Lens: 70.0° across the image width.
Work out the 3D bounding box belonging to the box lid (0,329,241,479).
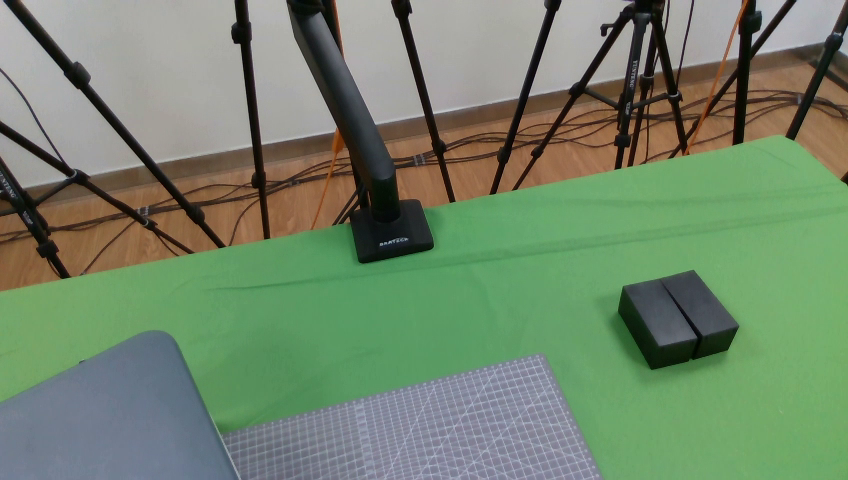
[{"bbox_3d":[-0.355,0.239,0.513,0.372,0.015,0.260,-27,49,-20],"label":"box lid"}]

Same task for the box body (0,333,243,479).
[{"bbox_3d":[-0.351,0.292,0.566,0.364,0.162,0.251,-27,49,-21],"label":"box body"}]
